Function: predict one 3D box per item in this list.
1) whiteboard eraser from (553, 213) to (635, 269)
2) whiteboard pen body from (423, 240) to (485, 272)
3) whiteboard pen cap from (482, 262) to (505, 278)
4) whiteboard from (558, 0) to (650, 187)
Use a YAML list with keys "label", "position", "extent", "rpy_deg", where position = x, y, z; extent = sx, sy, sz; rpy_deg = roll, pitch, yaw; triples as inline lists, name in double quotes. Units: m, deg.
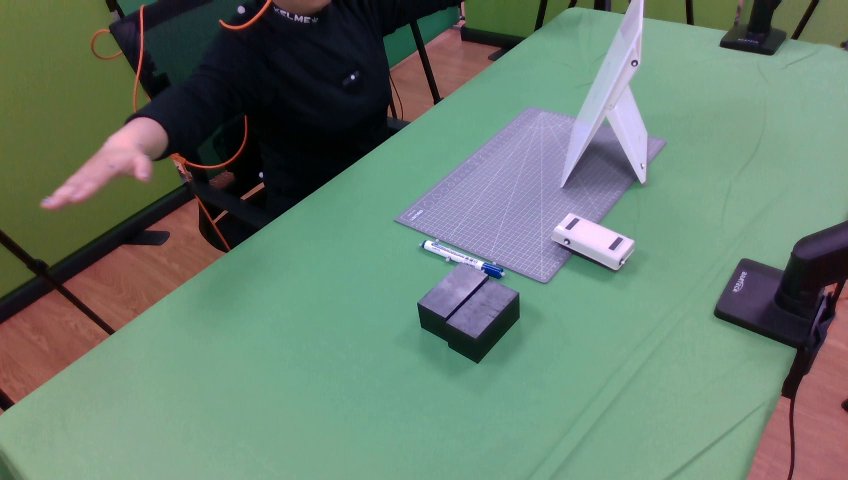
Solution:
- label: "whiteboard eraser"
  position: [0.257, 0.003, 0.918]
  extent: [0.112, 0.042, 0.056]
  rpy_deg: [27, 49, 30]
- label: "whiteboard pen body"
  position: [0.057, 0.027, 0.942]
  extent: [0.139, 0.017, 0.017]
  rpy_deg: [22, 48, 30]
- label: "whiteboard pen cap"
  position: [0.104, 0.044, 0.912]
  extent: [0.033, 0.018, 0.018]
  rpy_deg: [22, 49, 29]
- label: "whiteboard"
  position: [0.361, -0.238, 1.026]
  extent: [0.144, 0.306, 0.217]
  rpy_deg: [21, 45, 4]
